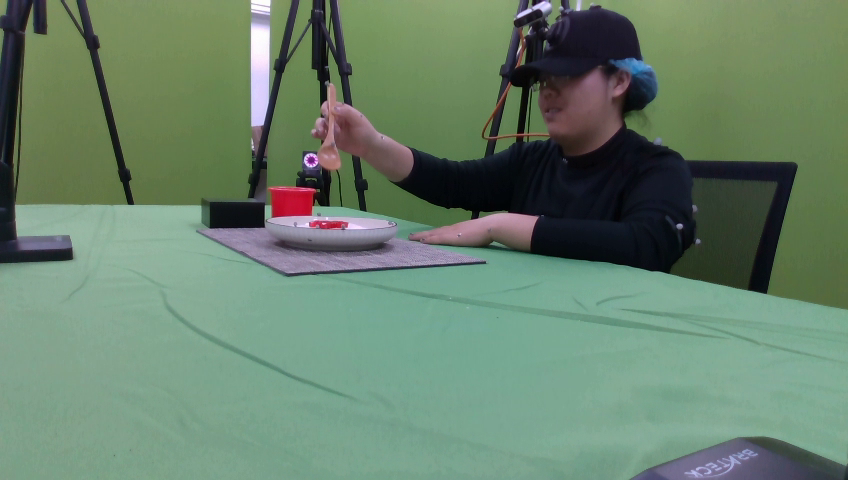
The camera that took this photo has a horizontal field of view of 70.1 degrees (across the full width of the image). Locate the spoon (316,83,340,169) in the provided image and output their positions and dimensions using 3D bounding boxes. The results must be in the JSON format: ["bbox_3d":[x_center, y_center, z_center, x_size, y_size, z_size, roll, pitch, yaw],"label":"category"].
[{"bbox_3d":[-0.160,-0.199,1.037,0.042,0.193,0.021,10,-29,-19],"label":"spoon"}]

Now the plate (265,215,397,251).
[{"bbox_3d":[-0.147,-0.012,0.963,0.209,0.038,0.209,3,7,0],"label":"plate"}]

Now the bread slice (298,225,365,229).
[{"bbox_3d":[-0.154,-0.012,0.973,0.132,0.019,0.104,-1,7,-31],"label":"bread slice"}]
